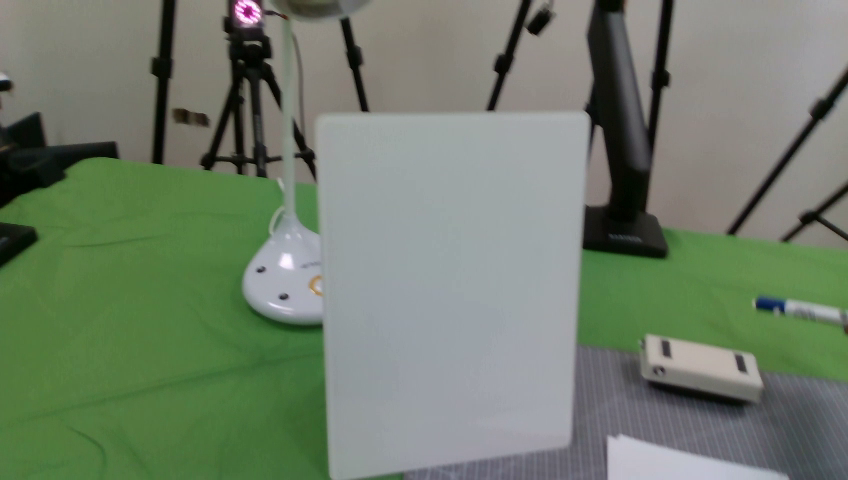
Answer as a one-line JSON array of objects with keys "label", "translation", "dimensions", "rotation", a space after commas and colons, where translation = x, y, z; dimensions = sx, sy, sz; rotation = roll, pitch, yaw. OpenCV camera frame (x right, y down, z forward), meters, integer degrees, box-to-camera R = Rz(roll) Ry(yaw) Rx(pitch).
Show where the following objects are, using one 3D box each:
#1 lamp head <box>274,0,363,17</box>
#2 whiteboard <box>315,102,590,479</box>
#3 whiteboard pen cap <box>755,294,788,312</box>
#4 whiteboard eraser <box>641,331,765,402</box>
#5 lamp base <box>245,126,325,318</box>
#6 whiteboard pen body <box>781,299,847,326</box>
[{"label": "lamp head", "translation": [-0.099, -0.267, 0.507], "dimensions": [0.113, 0.113, 0.121], "rotation": [-13, 61, -27]}, {"label": "whiteboard", "translation": [0.016, 0.032, 0.554], "dimensions": [0.218, 0.306, 0.143], "rotation": [-3, 13, -11]}, {"label": "whiteboard pen cap", "translation": [0.383, 0.070, 0.663], "dimensions": [0.018, 0.018, 0.033], "rotation": [-17, 16, -31]}, {"label": "whiteboard eraser", "translation": [0.283, 0.131, 0.621], "dimensions": [0.112, 0.042, 0.055], "rotation": [11, 33, 11]}, {"label": "lamp base", "translation": [-0.136, -0.029, 0.697], "dimensions": [0.161, 0.181, 0.177], "rotation": [-21, 37, -35]}, {"label": "whiteboard pen body", "translation": [0.415, 0.076, 0.615], "dimensions": [0.017, 0.017, 0.139], "rotation": [-18, 17, -32]}]
